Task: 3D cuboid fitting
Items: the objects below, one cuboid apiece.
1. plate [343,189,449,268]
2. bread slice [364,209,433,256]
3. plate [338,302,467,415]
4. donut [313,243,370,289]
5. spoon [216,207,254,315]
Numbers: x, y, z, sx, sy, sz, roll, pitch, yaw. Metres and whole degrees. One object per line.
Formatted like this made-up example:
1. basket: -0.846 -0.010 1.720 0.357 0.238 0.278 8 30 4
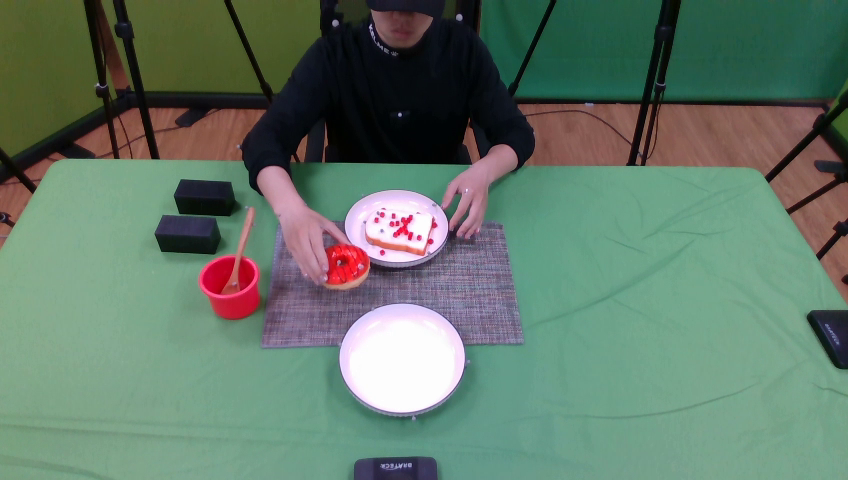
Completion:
1. plate: -0.055 -0.019 1.195 0.209 0.038 0.208 3 46 -2
2. bread slice: -0.053 -0.020 1.199 0.131 0.019 0.104 10 46 4
3. plate: -0.035 0.194 0.992 0.208 0.039 0.206 2 48 -2
4. donut: -0.142 0.043 1.046 0.099 0.048 0.098 0 44 0
5. spoon: -0.322 0.036 1.053 0.041 0.021 0.193 14 90 10
